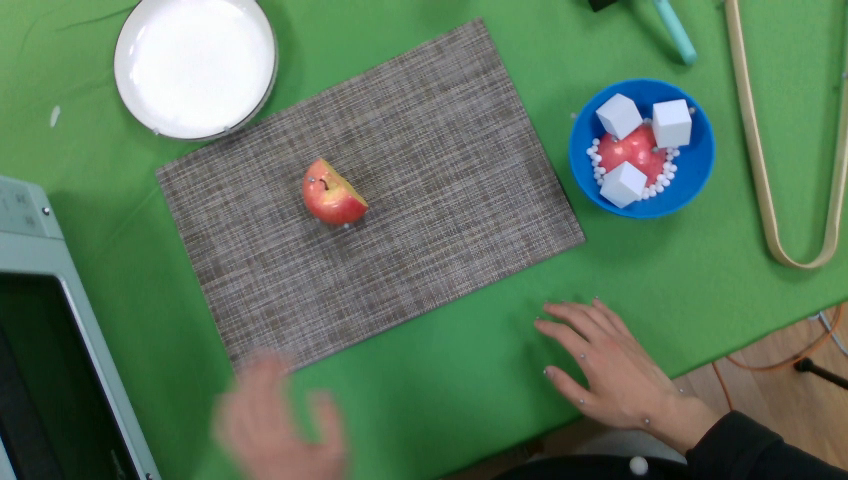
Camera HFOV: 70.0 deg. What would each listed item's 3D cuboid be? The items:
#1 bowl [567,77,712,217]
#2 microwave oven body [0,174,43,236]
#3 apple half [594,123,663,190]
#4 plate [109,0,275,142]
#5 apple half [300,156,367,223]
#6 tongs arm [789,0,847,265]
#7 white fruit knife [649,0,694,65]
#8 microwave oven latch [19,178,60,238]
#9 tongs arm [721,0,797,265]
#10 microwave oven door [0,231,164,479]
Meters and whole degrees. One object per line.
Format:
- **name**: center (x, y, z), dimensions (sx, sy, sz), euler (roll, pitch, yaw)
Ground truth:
- **bowl**: center (0.231, -0.096, 0.678), dimensions (0.151, 0.077, 0.151), euler (0, 86, 6)
- **microwave oven body**: center (-0.544, 0.180, 0.631), dimensions (0.326, 0.261, 0.440), euler (-26, 84, 2)
- **apple half**: center (0.231, -0.095, 0.674), dimensions (0.081, 0.033, 0.081), euler (-1, 85, 7)
- **plate**: center (-0.283, -0.221, 0.754), dimensions (0.207, 0.039, 0.207), euler (0, 86, 5)
- **apple half**: center (-0.111, -0.050, 0.704), dimensions (0.053, 0.075, 0.080), euler (-45, 86, 6)
- **tongs arm**: center (0.455, -0.161, 0.684), dimensions (0.051, 0.026, 0.384), euler (6, 87, 6)
- **white fruit knife**: center (0.252, -0.289, 0.686), dimensions (0.016, 0.027, 0.208), euler (-31, 100, 20)
- **microwave oven latch**: center (-0.477, -0.034, 0.739), dimensions (0.030, 0.029, 0.079), euler (-26, 84, 2)
- **tongs arm**: center (0.374, -0.162, 0.694), dimensions (0.028, 0.028, 0.386), euler (-7, 85, 2)
- **microwave oven door**: center (-0.395, 0.153, 0.615), dimensions (0.039, 0.244, 0.354), euler (-26, 83, 3)
